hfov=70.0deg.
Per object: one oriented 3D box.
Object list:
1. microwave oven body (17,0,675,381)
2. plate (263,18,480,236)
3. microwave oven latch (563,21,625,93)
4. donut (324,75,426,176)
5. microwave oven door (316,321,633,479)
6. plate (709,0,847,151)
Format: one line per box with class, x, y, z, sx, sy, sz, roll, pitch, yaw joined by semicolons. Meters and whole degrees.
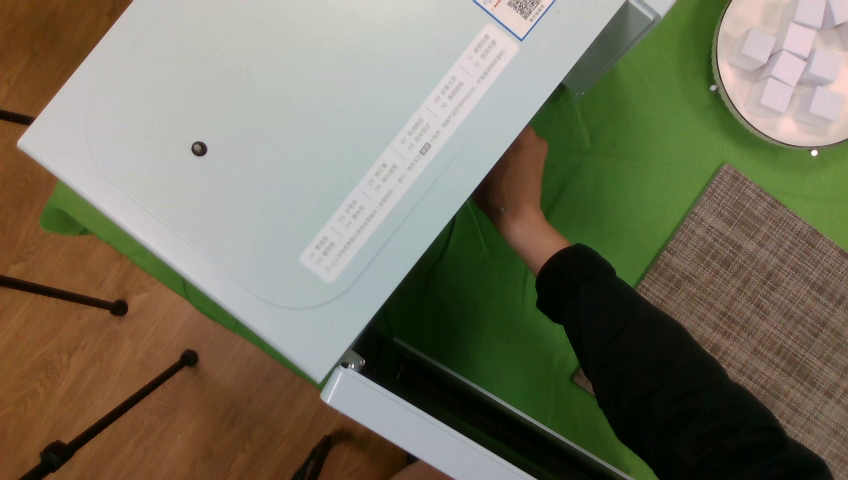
microwave oven body;-0.046;-0.153;0.546;0.326;0.260;0.441;39;89;-2
plate;-0.050;-0.108;0.594;0.209;0.038;0.209;0;92;-2
microwave oven latch;0.178;-0.198;0.650;0.030;0.029;0.079;43;89;-1
donut;-0.048;-0.110;0.586;0.099;0.048;0.099;0;90;-2
microwave oven door;0.079;0.190;0.545;0.356;0.244;0.039;31;88;-1
plate;0.417;-0.201;0.676;0.208;0.039;0.207;0;90;-2
